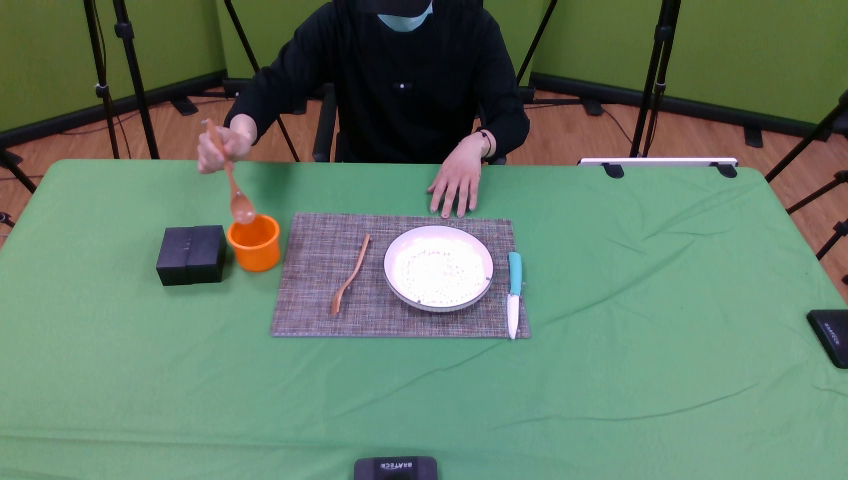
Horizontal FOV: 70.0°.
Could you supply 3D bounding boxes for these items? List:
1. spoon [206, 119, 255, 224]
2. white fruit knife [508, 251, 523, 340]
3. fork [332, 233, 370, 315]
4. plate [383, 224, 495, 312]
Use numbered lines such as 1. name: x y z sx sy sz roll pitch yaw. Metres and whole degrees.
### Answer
1. spoon: -0.345 -0.120 1.075 0.041 0.194 0.021 -21 24 -18
2. white fruit knife: 0.169 0.098 1.113 0.027 0.016 0.206 -13 43 23
3. fork: -0.133 0.058 1.126 0.019 0.028 0.206 35 43 -13
4. plate: 0.026 0.055 1.128 0.209 0.038 0.208 2 46 -2
